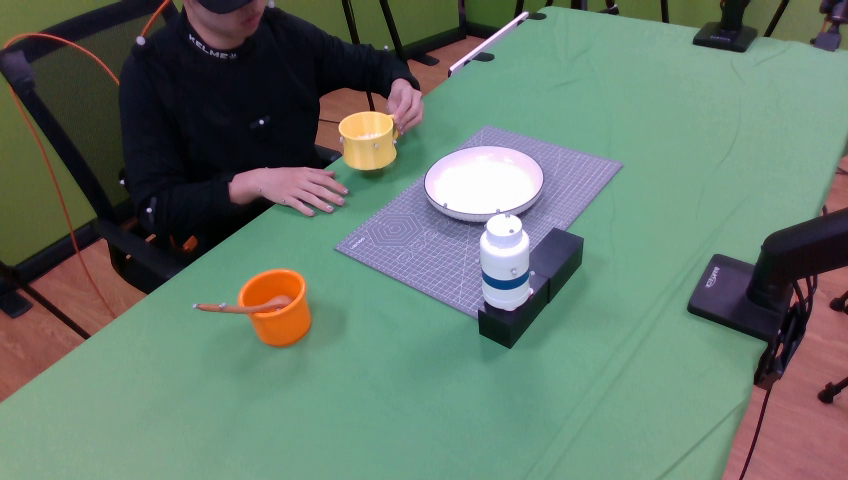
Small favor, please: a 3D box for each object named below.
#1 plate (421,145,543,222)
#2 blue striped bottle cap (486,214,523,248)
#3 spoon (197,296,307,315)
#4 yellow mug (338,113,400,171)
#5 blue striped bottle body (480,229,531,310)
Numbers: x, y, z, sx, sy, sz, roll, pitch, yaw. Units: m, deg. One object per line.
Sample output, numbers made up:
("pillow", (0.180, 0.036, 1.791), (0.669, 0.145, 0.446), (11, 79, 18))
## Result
("plate", (0.101, -0.094, 1.048), (0.207, 0.039, 0.206), (-4, 41, 4))
("blue striped bottle cap", (0.098, -0.011, 0.735), (0.044, 0.021, 0.044), (-3, 38, 3))
("spoon", (-0.220, 0.088, 0.793), (0.041, 0.021, 0.195), (19, 7, 25))
("yellow mug", (-0.093, -0.189, 1.115), (0.099, 0.064, 0.131), (31, 51, 34))
("blue striped bottle body", (0.104, 0.027, 0.769), (0.063, 0.121, 0.063), (-4, 40, 4))
